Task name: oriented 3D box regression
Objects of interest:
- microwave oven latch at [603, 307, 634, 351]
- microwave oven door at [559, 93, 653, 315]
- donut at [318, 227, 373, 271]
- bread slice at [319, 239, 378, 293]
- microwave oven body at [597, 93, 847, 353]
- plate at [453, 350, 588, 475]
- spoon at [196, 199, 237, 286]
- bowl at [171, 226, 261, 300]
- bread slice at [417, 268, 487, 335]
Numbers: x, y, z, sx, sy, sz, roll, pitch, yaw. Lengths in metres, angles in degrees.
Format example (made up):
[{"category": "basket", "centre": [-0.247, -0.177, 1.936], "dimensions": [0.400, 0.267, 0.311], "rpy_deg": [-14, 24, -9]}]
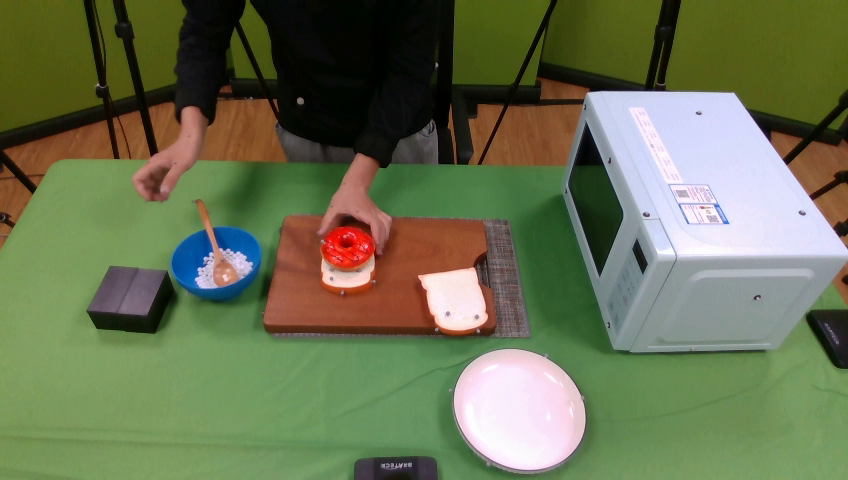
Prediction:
[{"category": "microwave oven latch", "centre": [0.332, 0.153, 1.044], "dimensions": [0.030, 0.029, 0.078], "rpy_deg": [0, 45, -4]}, {"category": "microwave oven door", "centre": [0.327, -0.074, 1.123], "dimensions": [0.039, 0.245, 0.353], "rpy_deg": [-1, 46, -5]}, {"category": "donut", "centre": [-0.142, 0.017, 1.096], "dimensions": [0.099, 0.048, 0.098], "rpy_deg": [3, 44, -2]}, {"category": "bread slice", "centre": [-0.139, 0.044, 1.111], "dimensions": [0.105, 0.019, 0.130], "rpy_deg": [1, 45, -2]}, {"category": "microwave oven body", "centre": [0.475, -0.041, 1.109], "dimensions": [0.326, 0.261, 0.438], "rpy_deg": [-1, 45, -4]}, {"category": "plate", "centre": [0.147, 0.267, 0.943], "dimensions": [0.208, 0.039, 0.206], "rpy_deg": [2, 45, -2]}, {"category": "spoon", "centre": [-0.377, 0.003, 1.086], "dimensions": [0.041, 0.022, 0.193], "rpy_deg": [-20, 70, -14]}, {"category": "bowl", "centre": [-0.363, 0.054, 1.081], "dimensions": [0.151, 0.077, 0.150], "rpy_deg": [2, 46, -2]}, {"category": "bread slice", "centre": [0.055, 0.107, 1.063], "dimensions": [0.107, 0.018, 0.133], "rpy_deg": [-9, 48, -12]}]
